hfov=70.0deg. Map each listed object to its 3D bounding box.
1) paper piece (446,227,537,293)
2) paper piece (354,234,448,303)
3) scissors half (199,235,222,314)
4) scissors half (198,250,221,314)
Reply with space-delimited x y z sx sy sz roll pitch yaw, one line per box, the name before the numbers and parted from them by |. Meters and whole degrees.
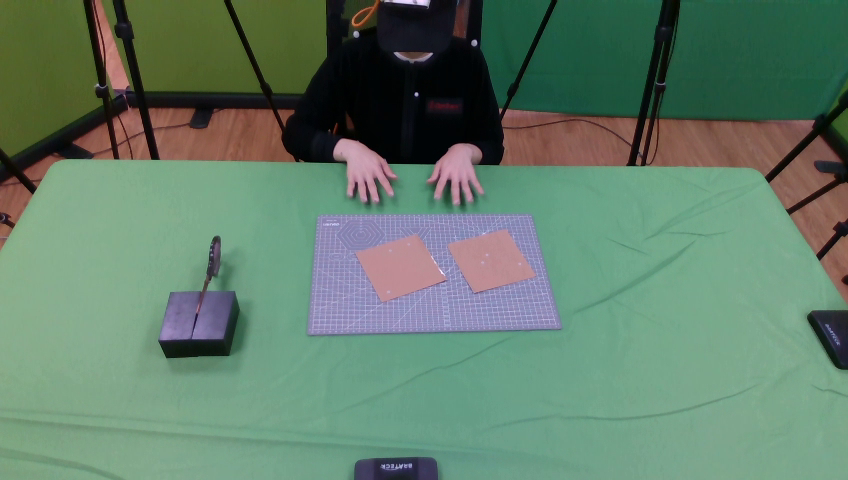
paper piece | 0.130 0.037 1.177 0.136 0.004 0.134 -14 49 -16
paper piece | -0.045 0.049 1.154 0.138 0.009 0.135 -17 46 -18
scissors half | -0.374 0.058 1.057 0.013 0.040 0.174 9 49 -13
scissors half | -0.379 0.073 1.071 0.013 0.040 0.174 5 32 -9
